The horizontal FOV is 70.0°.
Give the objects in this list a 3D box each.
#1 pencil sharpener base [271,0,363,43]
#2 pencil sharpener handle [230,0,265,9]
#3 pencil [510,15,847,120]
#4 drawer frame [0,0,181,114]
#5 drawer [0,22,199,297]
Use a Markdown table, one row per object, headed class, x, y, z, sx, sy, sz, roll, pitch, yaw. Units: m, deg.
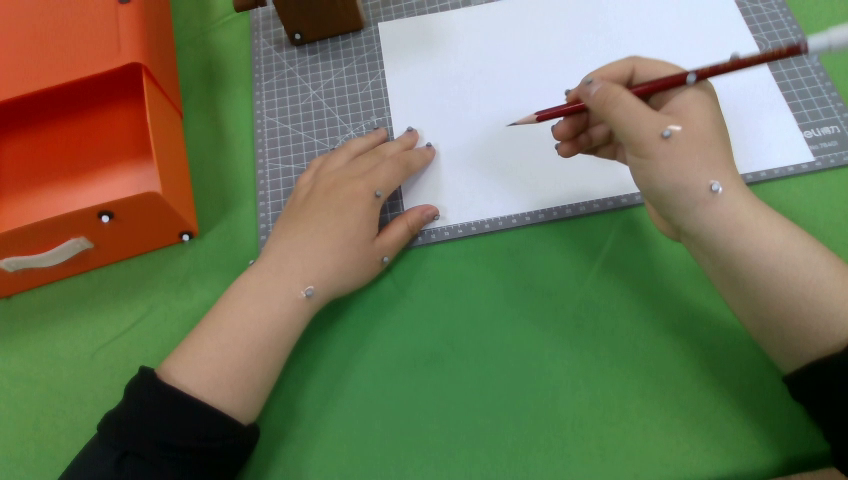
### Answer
| class | x | y | z | sx | sy | sz | roll | pitch | yaw |
| --- | --- | --- | --- | --- | --- | --- | --- | --- | --- |
| pencil sharpener base | -0.101 | -0.226 | 0.498 | 0.077 | 0.108 | 0.061 | -16 | 64 | 0 |
| pencil sharpener handle | -0.151 | -0.216 | 0.486 | 0.030 | 0.068 | 0.035 | -16 | 61 | 0 |
| pencil | 0.140 | -0.094 | 0.346 | 0.193 | 0.012 | 0.012 | -11 | 62 | 25 |
| drawer frame | -0.327 | -0.175 | 0.519 | 0.202 | 0.083 | 0.211 | -18 | 63 | -1 |
| drawer | -0.292 | -0.075 | 0.470 | 0.194 | 0.074 | 0.210 | -18 | 64 | -1 |
